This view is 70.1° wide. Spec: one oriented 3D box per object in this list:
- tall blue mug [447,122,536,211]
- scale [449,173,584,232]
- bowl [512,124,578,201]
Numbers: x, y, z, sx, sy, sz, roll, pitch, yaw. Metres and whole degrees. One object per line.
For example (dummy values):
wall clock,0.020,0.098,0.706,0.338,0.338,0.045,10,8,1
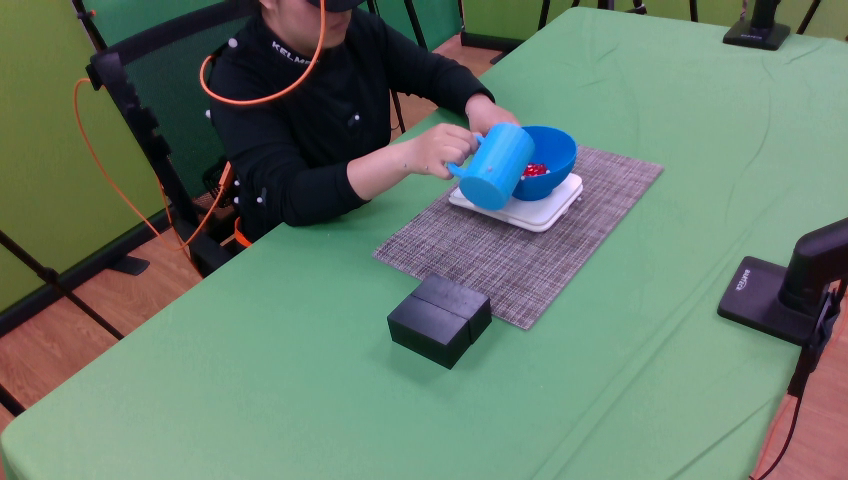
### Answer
tall blue mug,0.095,-0.116,0.886,0.107,0.077,0.108,34,66,-8
scale,0.156,-0.085,1.040,0.199,0.032,0.149,22,49,33
bowl,0.176,-0.117,0.991,0.151,0.077,0.150,-6,41,5
